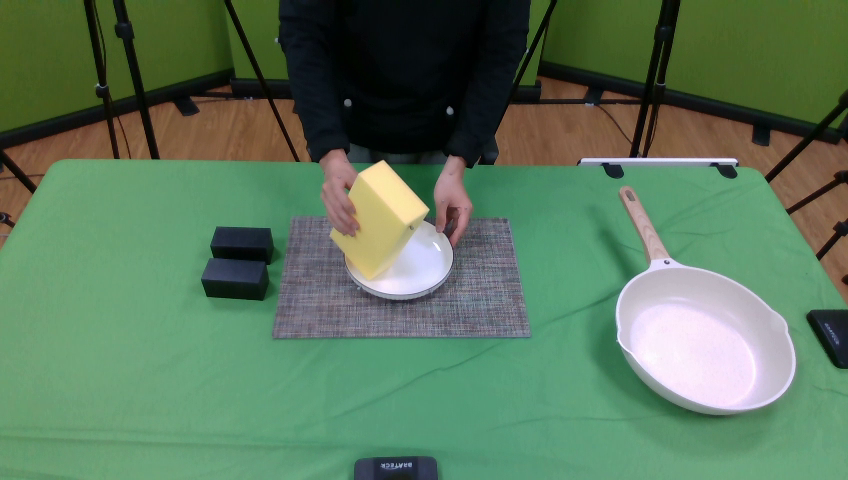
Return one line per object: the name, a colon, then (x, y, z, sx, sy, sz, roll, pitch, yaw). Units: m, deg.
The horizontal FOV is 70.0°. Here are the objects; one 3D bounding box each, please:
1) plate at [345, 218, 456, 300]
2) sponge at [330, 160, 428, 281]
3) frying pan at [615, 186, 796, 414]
plate: (-0.045, 0.035, 1.146, 0.208, 0.039, 0.206, 2, 46, -2)
sponge: (-0.085, -0.029, 1.060, 0.118, 0.207, 0.061, 47, 54, 9)
frying pan: (0.449, 0.087, 1.092, 0.307, 0.103, 0.484, -4, 55, -10)
